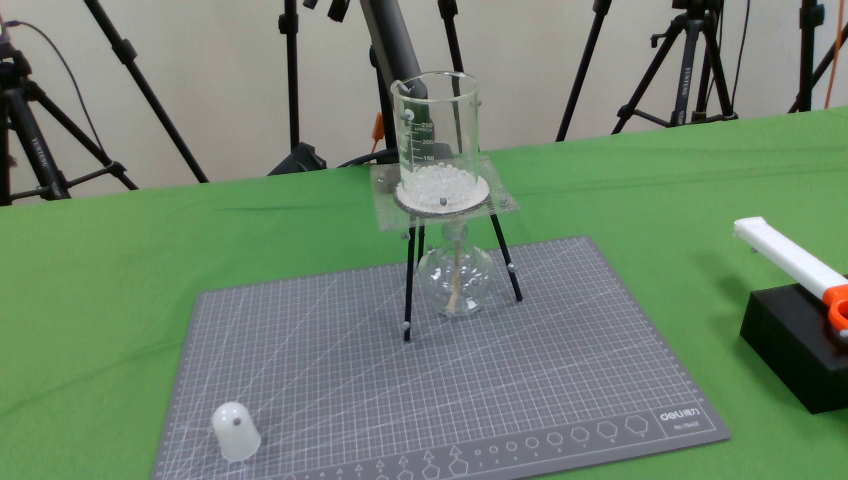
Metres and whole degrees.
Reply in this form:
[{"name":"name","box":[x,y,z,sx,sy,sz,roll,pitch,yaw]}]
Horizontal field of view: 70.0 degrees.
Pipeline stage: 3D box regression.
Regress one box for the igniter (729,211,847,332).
[{"name":"igniter","box":[0.350,0.046,0.505,0.057,0.025,0.273,-9,31,-6]}]

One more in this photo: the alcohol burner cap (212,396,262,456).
[{"name":"alcohol burner cap","box":[-0.150,0.144,0.482,0.034,0.048,0.033,-3,35,2]}]

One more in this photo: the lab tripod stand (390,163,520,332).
[{"name":"lab tripod stand","box":[0.022,0.001,0.592,0.148,0.132,0.147,-2,33,2]}]

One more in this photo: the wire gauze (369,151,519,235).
[{"name":"wire gauze","box":[0.013,-0.050,0.553,0.121,0.011,0.123,-8,36,-5]}]

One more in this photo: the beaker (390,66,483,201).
[{"name":"beaker","box":[0.010,-0.092,0.526,0.074,0.101,0.083,-29,41,-33]}]

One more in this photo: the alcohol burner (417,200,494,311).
[{"name":"alcohol burner","box":[0.030,0.011,0.595,0.078,0.120,0.077,-2,36,2]}]
